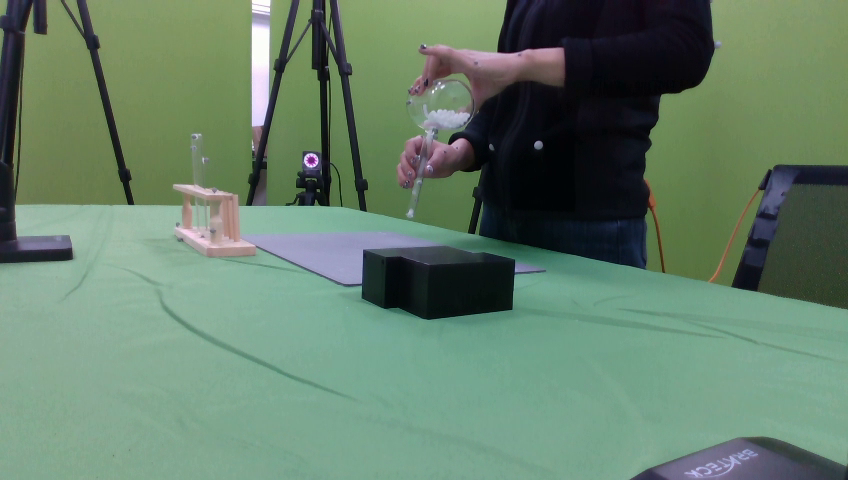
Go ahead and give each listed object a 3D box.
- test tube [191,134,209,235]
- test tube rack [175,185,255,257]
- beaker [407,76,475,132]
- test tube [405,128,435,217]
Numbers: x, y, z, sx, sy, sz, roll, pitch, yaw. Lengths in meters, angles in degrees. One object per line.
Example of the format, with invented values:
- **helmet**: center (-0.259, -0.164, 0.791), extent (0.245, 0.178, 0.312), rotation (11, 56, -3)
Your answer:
- **test tube**: center (-0.332, -0.082, 0.898), extent (0.017, 0.150, 0.017), rotation (-2, 6, 0)
- **test tube rack**: center (-0.324, -0.035, 0.922), extent (0.067, 0.085, 0.241), rotation (-2, 9, -31)
- **beaker**: center (0.025, -0.198, 0.886), extent (0.074, 0.084, 0.100), rotation (-8, 15, -20)
- **test tube**: center (-0.007, -0.106, 0.965), extent (0.017, 0.150, 0.017), rotation (13, 23, -5)
